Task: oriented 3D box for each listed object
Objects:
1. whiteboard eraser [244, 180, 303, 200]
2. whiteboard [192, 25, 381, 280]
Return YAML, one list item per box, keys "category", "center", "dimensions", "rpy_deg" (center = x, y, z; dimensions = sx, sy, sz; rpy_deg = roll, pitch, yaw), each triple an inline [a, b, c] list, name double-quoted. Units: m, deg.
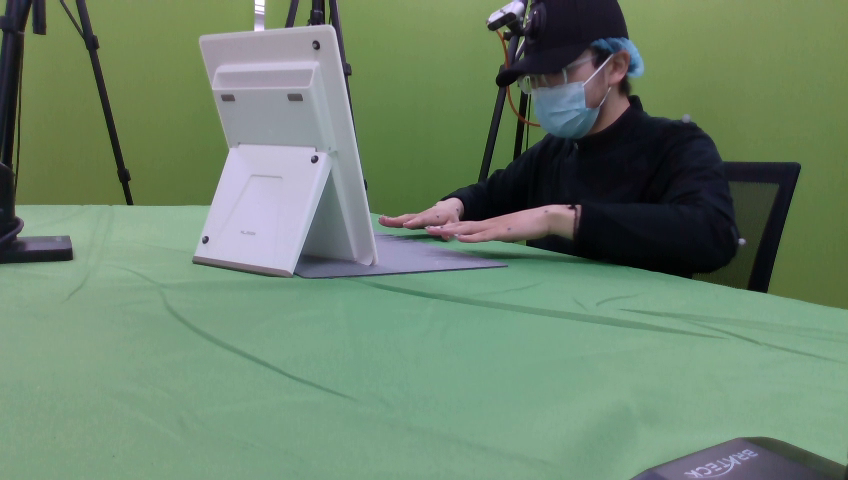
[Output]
- category: "whiteboard eraser"
  center: [-0.318, -0.106, 1.277]
  dimensions: [0.113, 0.042, 0.055]
  rpy_deg: [-6, 15, -36]
- category: "whiteboard"
  center: [-0.205, -0.085, 0.734]
  dimensions: [0.216, 0.305, 0.144]
  rpy_deg: [7, 30, 30]
